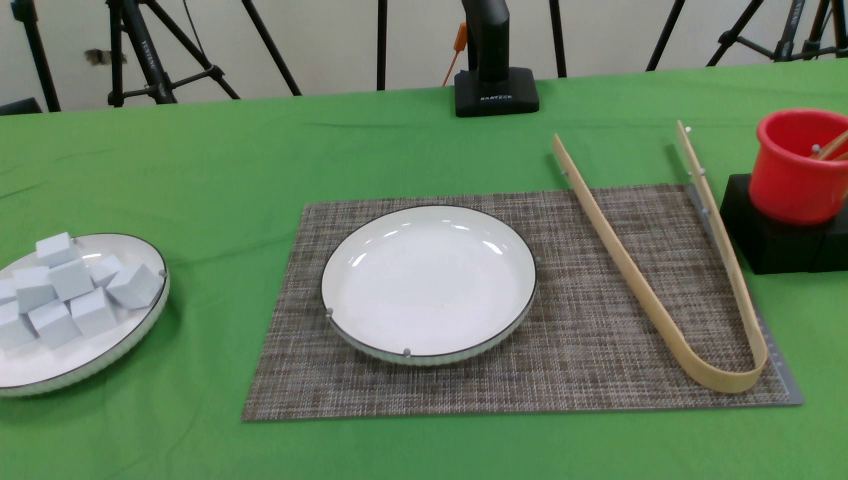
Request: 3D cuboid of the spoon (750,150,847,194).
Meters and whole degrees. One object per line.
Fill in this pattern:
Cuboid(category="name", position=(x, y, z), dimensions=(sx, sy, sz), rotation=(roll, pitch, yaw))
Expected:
Cuboid(category="spoon", position=(0.368, -0.072, 0.514), dimensions=(0.041, 0.193, 0.021), rotation=(-26, 87, -28))

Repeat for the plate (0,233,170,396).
Cuboid(category="plate", position=(-0.357, 0.073, 0.604), dimensions=(0.209, 0.038, 0.207), rotation=(-3, 41, 3))

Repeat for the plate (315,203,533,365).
Cuboid(category="plate", position=(0.001, 0.042, 0.590), dimensions=(0.207, 0.039, 0.205), rotation=(-3, 41, 3))

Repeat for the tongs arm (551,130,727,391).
Cuboid(category="tongs arm", position=(0.197, -0.007, 0.626), dimensions=(0.028, 0.028, 0.383), rotation=(-6, 41, -7))

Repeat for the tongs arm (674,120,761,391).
Cuboid(category="tongs arm", position=(0.279, -0.013, 0.622), dimensions=(0.051, 0.027, 0.381), rotation=(1, 42, 5))

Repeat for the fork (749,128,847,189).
Cuboid(category="fork", position=(0.397, -0.101, 0.545), dimensions=(0.207, 0.019, 0.028), rotation=(-36, 9, 28))
